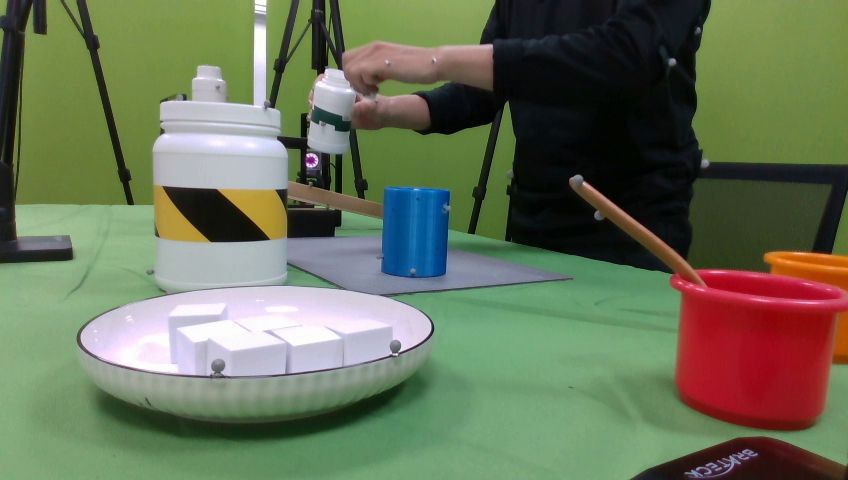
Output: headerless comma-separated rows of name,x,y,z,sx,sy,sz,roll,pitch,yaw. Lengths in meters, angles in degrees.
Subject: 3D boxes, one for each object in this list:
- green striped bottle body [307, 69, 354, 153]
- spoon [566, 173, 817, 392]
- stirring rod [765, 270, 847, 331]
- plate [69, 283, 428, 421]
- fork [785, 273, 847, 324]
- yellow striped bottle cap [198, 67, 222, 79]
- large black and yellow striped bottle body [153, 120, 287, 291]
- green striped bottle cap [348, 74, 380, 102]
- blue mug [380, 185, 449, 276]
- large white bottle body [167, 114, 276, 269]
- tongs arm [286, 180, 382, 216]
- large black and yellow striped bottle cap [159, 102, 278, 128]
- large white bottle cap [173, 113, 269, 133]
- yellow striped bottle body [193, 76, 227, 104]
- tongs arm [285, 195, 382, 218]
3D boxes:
green striped bottle body,-0.142,-0.199,0.929,0.063,0.119,0.063,10,21,-3
spoon,0.161,0.024,0.370,0.193,0.021,0.042,47,18,3
stirring rod,0.352,0.020,0.484,0.176,0.006,0.014,-40,-7,13
plate,-0.102,0.066,0.381,0.208,0.039,0.207,2,7,0
fork,0.332,0.018,0.444,0.028,0.018,0.207,-2,-35,-15
yellow striped bottle cap,-0.411,-0.320,1.163,0.044,0.018,0.044,0,5,0
large black and yellow striped bottle body,-0.208,-0.042,0.626,0.131,0.184,0.130,2,7,0
green striped bottle cap,-0.086,-0.219,0.873,0.044,0.020,0.044,25,33,-17
blue mug,-0.018,-0.016,0.764,0.083,0.106,0.116,-1,8,-25
large white bottle body,-0.256,-0.063,0.772,0.131,0.184,0.130,1,7,0
tongs arm,-0.122,-0.066,1.147,0.387,0.026,0.050,11,-2,-37
large black and yellow striped bottle cap,-0.207,-0.125,0.615,0.115,0.019,0.115,2,6,0
large white bottle cap,-0.254,-0.146,0.760,0.115,0.018,0.115,1,7,0
yellow striped bottle body,-0.414,-0.268,1.169,0.063,0.120,0.063,2,7,0
tongs arm,-0.165,-0.074,1.216,0.389,0.027,0.028,11,-6,-24
